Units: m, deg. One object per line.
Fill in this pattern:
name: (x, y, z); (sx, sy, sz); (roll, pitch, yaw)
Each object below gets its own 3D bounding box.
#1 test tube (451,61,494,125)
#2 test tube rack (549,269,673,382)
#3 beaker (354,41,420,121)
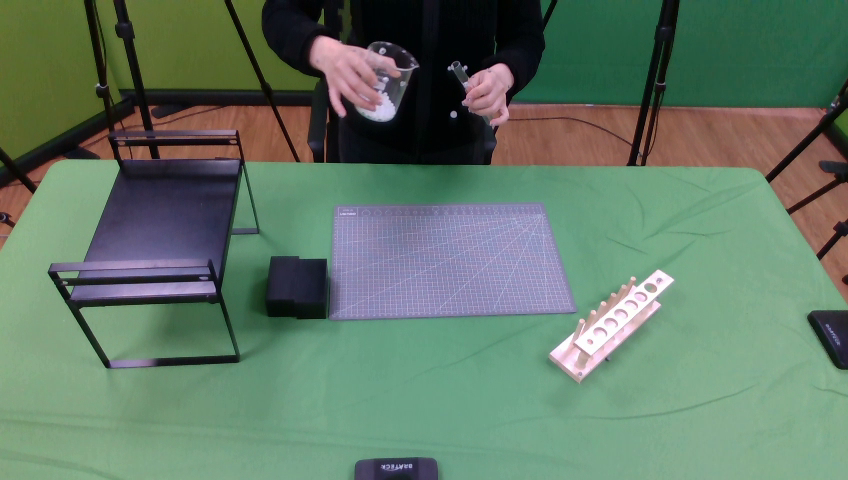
test tube: (0.083, -0.240, 1.001); (0.017, 0.151, 0.017); (-16, 55, 24)
test tube rack: (0.325, 0.134, 1.047); (0.242, 0.085, 0.066); (-32, 56, -30)
beaker: (-0.060, -0.241, 0.933); (0.084, 0.100, 0.073); (5, 45, -25)
